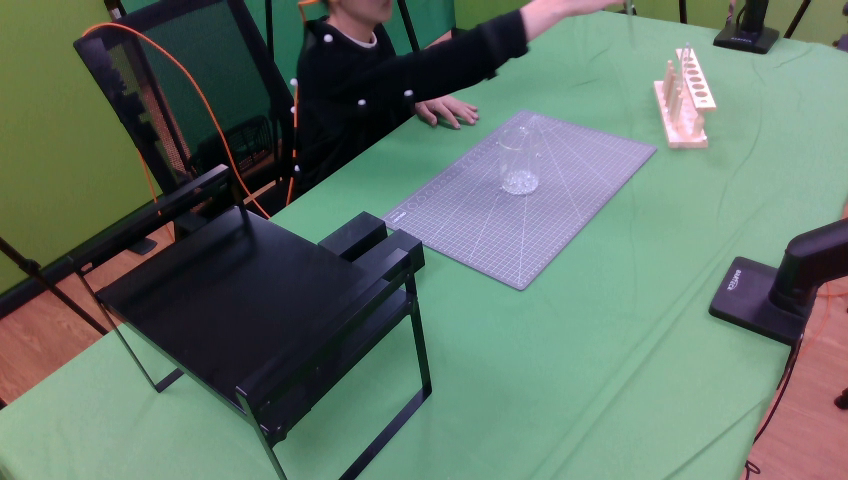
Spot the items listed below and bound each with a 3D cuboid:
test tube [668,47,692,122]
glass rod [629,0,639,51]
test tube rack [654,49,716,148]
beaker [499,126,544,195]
[{"bbox_3d":[0.472,-0.285,1.117,0.017,0.151,0.017,-4,44,4],"label":"test tube"},{"bbox_3d":[0.351,-0.412,1.025,0.008,0.201,0.008,-15,41,14],"label":"glass rod"},{"bbox_3d":[0.502,-0.281,1.176,0.066,0.085,0.241,2,41,11],"label":"test tube rack"},{"bbox_3d":[0.169,-0.136,1.045,0.073,0.101,0.084,12,44,21],"label":"beaker"}]
